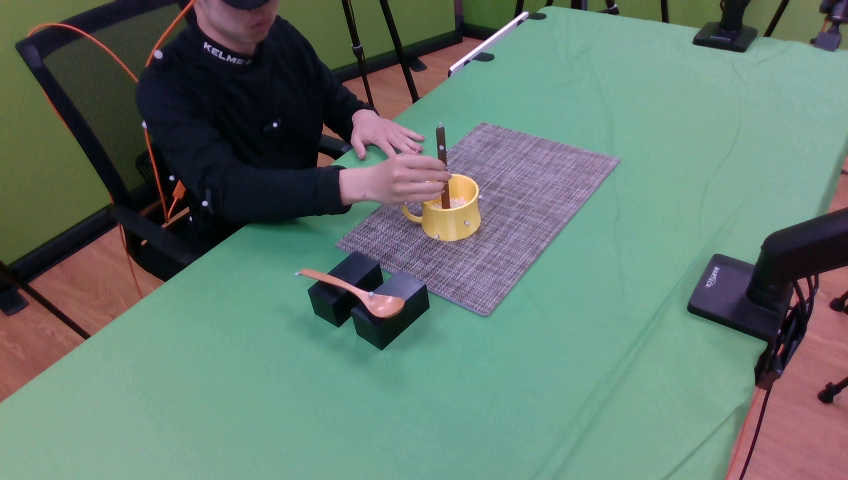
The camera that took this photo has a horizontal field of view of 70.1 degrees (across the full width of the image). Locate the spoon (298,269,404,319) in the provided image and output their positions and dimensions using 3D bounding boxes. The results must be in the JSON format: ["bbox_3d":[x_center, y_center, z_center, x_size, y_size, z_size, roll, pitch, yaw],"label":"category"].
[{"bbox_3d":[-0.106,0.068,0.831,0.192,0.022,0.042,21,49,32],"label":"spoon"}]

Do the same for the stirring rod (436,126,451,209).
[{"bbox_3d":[0.032,-0.100,0.948,0.014,0.177,0.005,-21,41,-17],"label":"stirring rod"}]

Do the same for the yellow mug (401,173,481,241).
[{"bbox_3d":[0.026,-0.054,0.989,0.130,0.064,0.099,-1,41,8],"label":"yellow mug"}]
